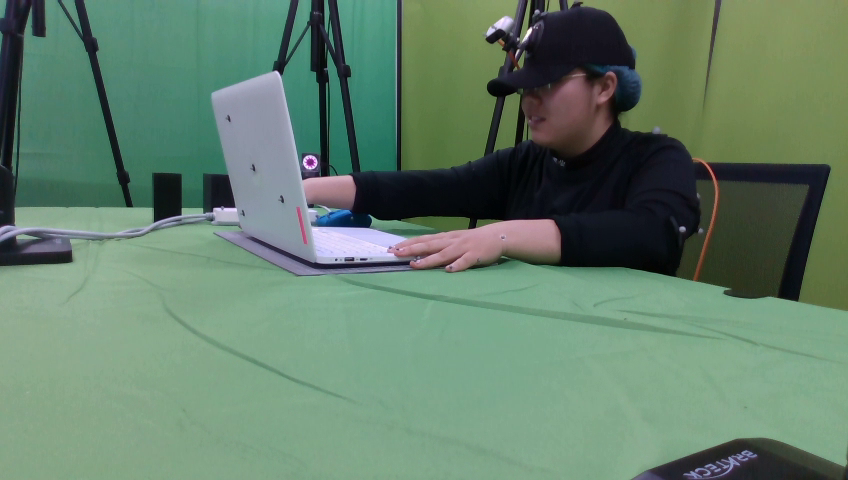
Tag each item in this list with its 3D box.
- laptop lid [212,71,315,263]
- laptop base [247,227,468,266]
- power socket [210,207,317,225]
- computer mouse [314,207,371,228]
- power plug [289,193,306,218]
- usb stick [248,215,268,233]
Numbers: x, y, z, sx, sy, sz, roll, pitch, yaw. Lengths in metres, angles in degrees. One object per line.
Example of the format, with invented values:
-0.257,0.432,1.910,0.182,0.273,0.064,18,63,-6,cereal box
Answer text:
-0.240,-0.104,0.863,0.013,0.241,0.355,-16,17,-29,laptop lid
-0.122,0.008,0.952,0.237,0.023,0.352,2,6,-32,laptop base
-0.335,-0.051,1.281,0.228,0.032,0.072,-1,8,-28,power socket
-0.173,-0.047,1.285,0.118,0.041,0.062,-8,12,-29,computer mouse
-0.281,-0.076,1.341,0.035,0.052,0.072,3,6,-16,power plug
-0.292,-0.028,1.072,0.021,0.027,0.059,0,13,-35,usb stick
